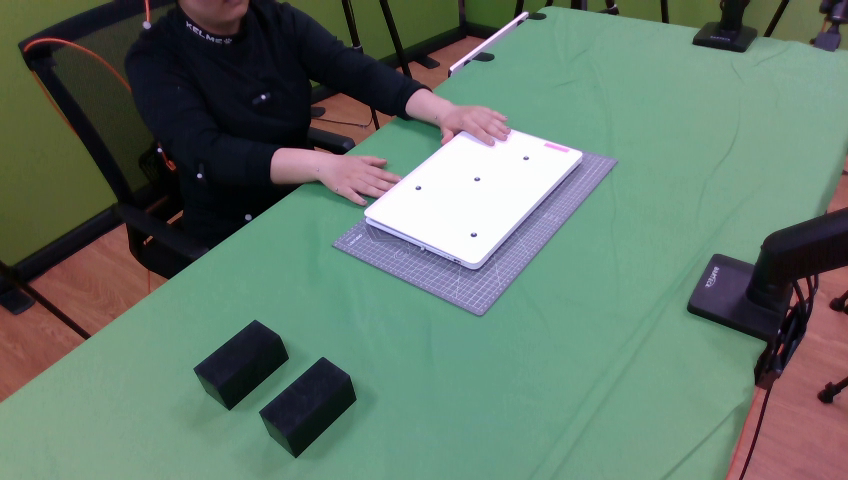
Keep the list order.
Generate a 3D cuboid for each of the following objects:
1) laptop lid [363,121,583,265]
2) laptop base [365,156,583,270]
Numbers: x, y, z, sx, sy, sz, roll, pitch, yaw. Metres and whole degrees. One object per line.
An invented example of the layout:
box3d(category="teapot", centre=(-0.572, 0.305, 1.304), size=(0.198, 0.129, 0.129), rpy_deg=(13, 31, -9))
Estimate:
box3d(category="laptop lid", centre=(0.092, -0.101, 1.049), size=(0.240, 0.013, 0.358), rpy_deg=(26, 50, 31))
box3d(category="laptop base", centre=(0.095, -0.086, 1.059), size=(0.233, 0.023, 0.355), rpy_deg=(21, 47, 33))
